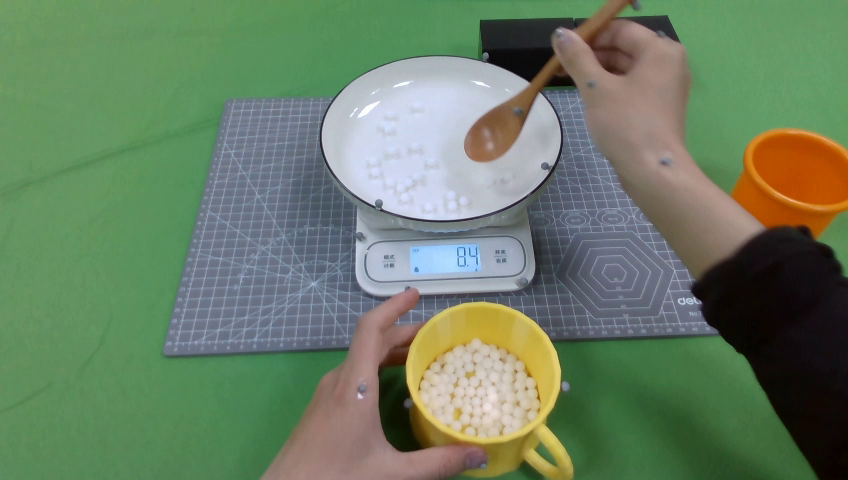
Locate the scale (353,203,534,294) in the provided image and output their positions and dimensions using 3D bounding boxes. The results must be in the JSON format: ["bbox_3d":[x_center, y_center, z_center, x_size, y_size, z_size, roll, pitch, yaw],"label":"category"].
[{"bbox_3d":[0.013,-0.044,0.538,0.149,0.032,0.199,-2,54,-1],"label":"scale"}]

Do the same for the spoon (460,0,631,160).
[{"bbox_3d":[0.095,-0.128,0.448,0.022,0.194,0.041,1,55,-44],"label":"spoon"}]

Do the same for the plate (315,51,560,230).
[{"bbox_3d":[0.011,-0.087,0.529,0.209,0.038,0.207,0,53,0],"label":"plate"}]

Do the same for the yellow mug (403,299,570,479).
[{"bbox_3d":[0.048,0.108,0.408,0.100,0.064,0.129,-37,62,-22],"label":"yellow mug"}]
